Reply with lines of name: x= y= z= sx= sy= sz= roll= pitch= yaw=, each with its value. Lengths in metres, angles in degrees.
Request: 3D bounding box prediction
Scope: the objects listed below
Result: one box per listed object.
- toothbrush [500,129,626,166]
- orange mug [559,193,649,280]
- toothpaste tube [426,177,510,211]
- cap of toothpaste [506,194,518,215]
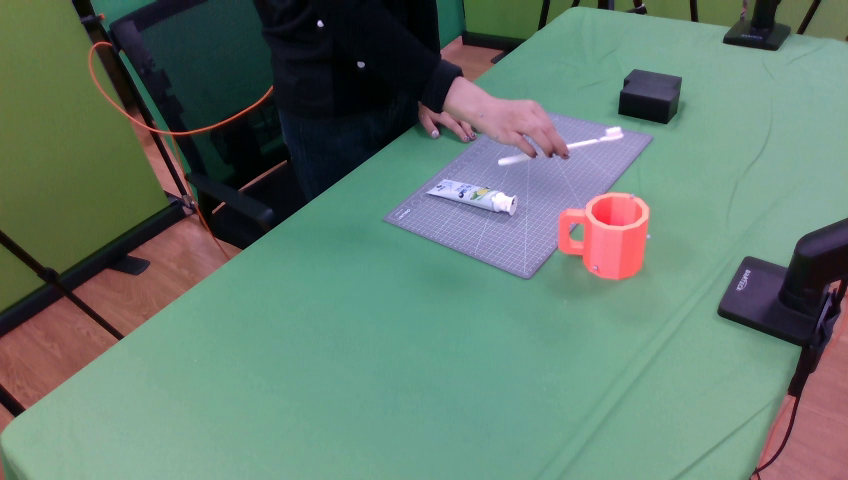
toothbrush: x=0.199 y=-0.132 z=0.876 sx=0.181 sy=0.017 sz=0.014 roll=-12 pitch=38 yaw=14
orange mug: x=0.261 y=-0.008 z=0.884 sx=0.126 sy=0.101 sz=0.083 roll=9 pitch=43 yaw=14
toothpaste tube: x=0.083 y=-0.081 z=1.054 sx=0.164 sy=0.034 sz=0.055 roll=18 pitch=40 yaw=34
cap of toothpaste: x=0.146 y=-0.059 z=1.008 sx=0.011 sy=0.037 sz=0.037 roll=14 pitch=46 yaw=22
